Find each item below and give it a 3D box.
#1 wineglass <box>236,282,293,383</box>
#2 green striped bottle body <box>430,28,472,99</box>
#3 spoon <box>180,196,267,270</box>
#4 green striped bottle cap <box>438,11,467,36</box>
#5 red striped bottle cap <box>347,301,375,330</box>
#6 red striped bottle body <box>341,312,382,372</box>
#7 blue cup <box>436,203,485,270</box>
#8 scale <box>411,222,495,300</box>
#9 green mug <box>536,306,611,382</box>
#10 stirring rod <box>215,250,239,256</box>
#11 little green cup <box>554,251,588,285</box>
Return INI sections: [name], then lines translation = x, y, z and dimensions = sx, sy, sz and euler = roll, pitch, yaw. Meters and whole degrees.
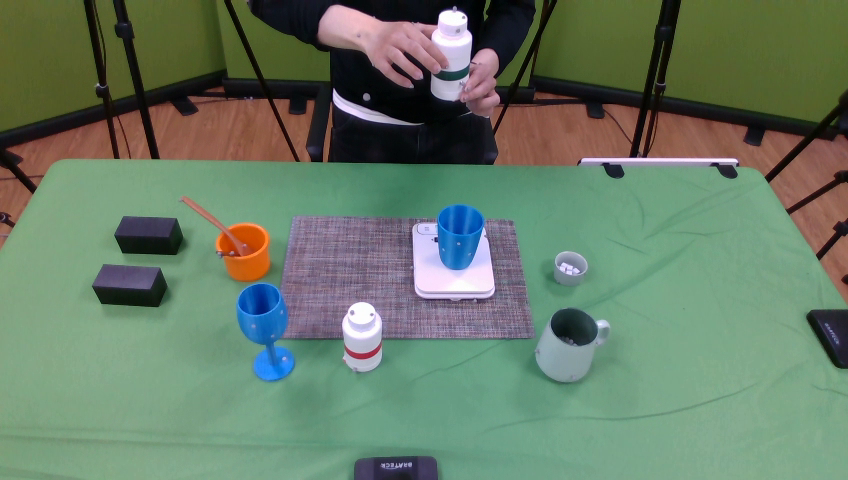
[wineglass]
translation = -0.243, 0.143, 0.934
dimensions = 0.074, 0.173, 0.073
euler = 2, 46, -2
[green striped bottle body]
translation = 0.041, -0.288, 0.952
dimensions = 0.063, 0.120, 0.063
euler = 0, 47, 0
[spoon]
translation = -0.360, -0.014, 1.094
dimensions = 0.021, 0.194, 0.041
euler = -28, 26, 31
[green striped bottle cap]
translation = 0.042, -0.326, 0.911
dimensions = 0.044, 0.020, 0.044
euler = -1, 49, 1
[red striped bottle cap]
translation = -0.097, 0.116, 0.934
dimensions = 0.044, 0.018, 0.044
euler = 3, 49, -3
[red striped bottle body]
translation = -0.100, 0.154, 0.972
dimensions = 0.063, 0.120, 0.062
euler = 2, 46, -1
[blue cup]
translation = 0.061, -0.001, 1.099
dimensions = 0.093, 0.101, 0.092
euler = 2, 44, -2
[scale]
translation = 0.052, 0.031, 1.158
dimensions = 0.149, 0.032, 0.199
euler = 1, 46, -4
[green mug]
translation = 0.250, 0.167, 0.996
dimensions = 0.125, 0.105, 0.092
euler = -15, 48, -18
[stirring rod]
translation = -0.340, 0.024, 1.059
dimensions = 0.014, 0.176, 0.006
euler = 16, 86, -6
[little green cup]
translation = 0.277, 0.055, 1.151
dimensions = 0.061, 0.039, 0.061
euler = 1, 46, -1
